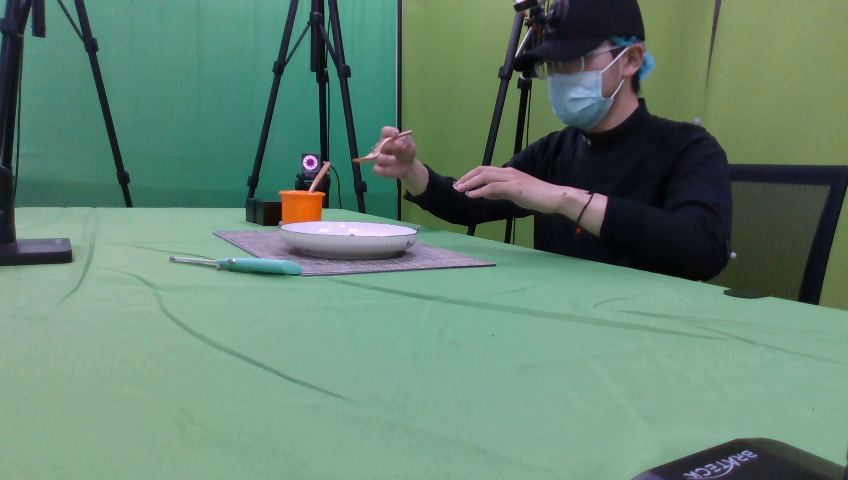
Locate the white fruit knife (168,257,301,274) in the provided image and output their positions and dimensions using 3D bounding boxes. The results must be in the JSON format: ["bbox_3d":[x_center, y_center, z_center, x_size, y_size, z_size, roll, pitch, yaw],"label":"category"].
[{"bbox_3d":[-0.243,0.029,0.749,0.206,0.016,0.027,2,-17,26],"label":"white fruit knife"}]

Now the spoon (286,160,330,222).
[{"bbox_3d":[-0.233,-0.101,1.252,0.041,0.193,0.022,3,-38,23],"label":"spoon"}]

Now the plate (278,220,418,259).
[{"bbox_3d":[-0.114,-0.002,0.914,0.209,0.038,0.209,2,7,0],"label":"plate"}]

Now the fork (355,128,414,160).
[{"bbox_3d":[-0.065,-0.175,1.086,0.028,0.018,0.208,-8,22,29],"label":"fork"}]
